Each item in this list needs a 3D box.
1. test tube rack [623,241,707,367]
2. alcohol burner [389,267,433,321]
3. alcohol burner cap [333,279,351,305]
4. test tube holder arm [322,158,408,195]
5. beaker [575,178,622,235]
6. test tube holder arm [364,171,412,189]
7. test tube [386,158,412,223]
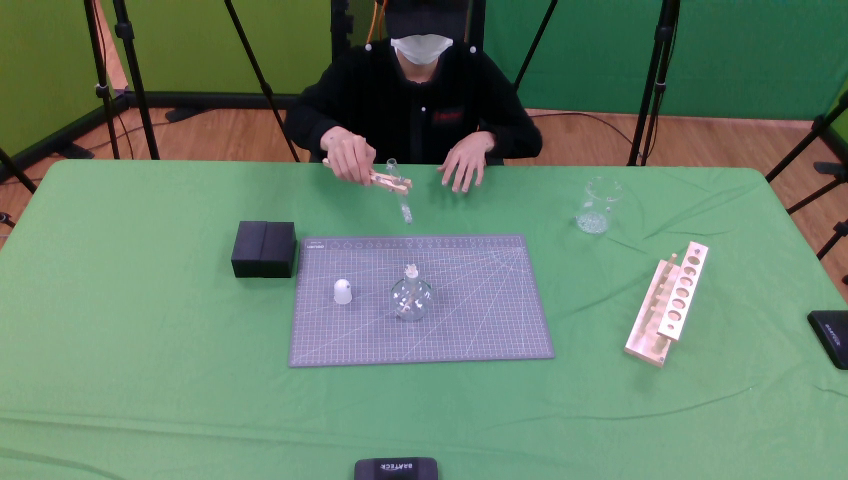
[{"bbox_3d":[0.435,0.104,1.089,0.066,0.085,0.242,24,49,18],"label":"test tube rack"},{"bbox_3d":[-0.022,0.085,1.046,0.078,0.119,0.077,2,48,-2],"label":"alcohol burner"},{"bbox_3d":[-0.148,0.090,1.083,0.034,0.048,0.033,3,46,-3],"label":"alcohol burner cap"},{"bbox_3d":[-0.103,-0.109,1.023,0.178,0.015,0.013,20,55,26],"label":"test tube holder arm"},{"bbox_3d":[0.356,-0.068,1.239,0.084,0.101,0.073,-18,50,-21],"label":"beaker"},{"bbox_3d":[-0.062,-0.100,1.008,0.087,0.015,0.010,13,53,22],"label":"test tube holder arm"},{"bbox_3d":[-0.040,-0.079,1.011,0.017,0.151,0.017,-6,51,8],"label":"test tube"}]
